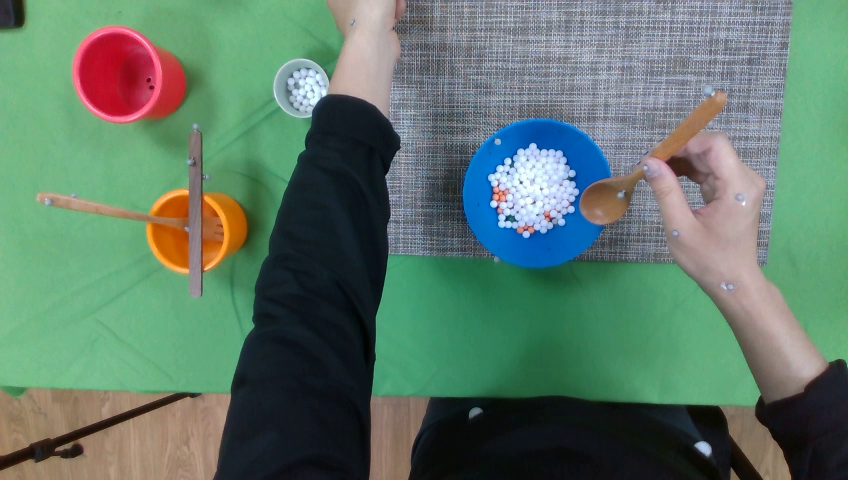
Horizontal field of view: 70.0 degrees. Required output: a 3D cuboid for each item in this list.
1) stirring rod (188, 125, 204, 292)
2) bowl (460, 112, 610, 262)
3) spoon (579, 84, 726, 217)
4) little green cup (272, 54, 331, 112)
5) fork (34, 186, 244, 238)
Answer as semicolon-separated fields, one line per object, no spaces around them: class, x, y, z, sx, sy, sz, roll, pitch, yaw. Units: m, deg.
stirring rod;-0.239;-0.031;0.635;0.014;0.006;0.176;3;99;6
bowl;0.114;-0.057;0.640;0.151;0.076;0.152;1;100;4
spoon;0.177;-0.064;0.485;0.041;0.194;0.021;42;70;5
little green cup;-0.131;-0.170;0.664;0.061;0.038;0.062;1;100;5
fork;-0.292;-0.030;0.643;0.209;0.018;0.028;12;106;-41
